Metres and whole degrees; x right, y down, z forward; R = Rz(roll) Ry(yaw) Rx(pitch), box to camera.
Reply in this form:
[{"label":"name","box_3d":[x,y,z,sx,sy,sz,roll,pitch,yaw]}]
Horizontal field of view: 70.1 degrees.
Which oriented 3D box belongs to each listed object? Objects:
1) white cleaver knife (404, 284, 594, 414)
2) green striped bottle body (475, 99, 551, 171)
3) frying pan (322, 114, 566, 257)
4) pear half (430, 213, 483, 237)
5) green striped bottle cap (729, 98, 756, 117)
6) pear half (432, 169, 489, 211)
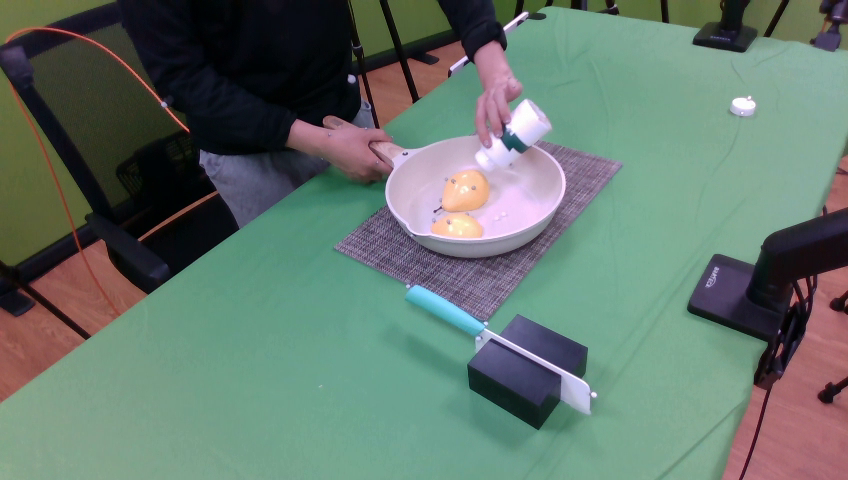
[{"label":"white cleaver knife","box_3d":[0.084,0.135,0.764,0.284,0.066,0.021,28,47,31]},{"label":"green striped bottle body","box_3d":[0.136,-0.160,0.953,0.119,0.063,0.063,-40,33,25]},{"label":"frying pan","box_3d":[0.004,-0.121,1.039,0.484,0.103,0.308,31,52,25]},{"label":"pear half","box_3d":[0.050,-0.024,0.973,0.087,0.031,0.070,14,40,18]},{"label":"green striped bottle cap","box_3d":[0.623,-0.259,1.182,0.044,0.020,0.044,-3,41,3]},{"label":"pear half","box_3d":[0.057,-0.083,1.023,0.110,0.056,0.075,-32,41,-24]}]
